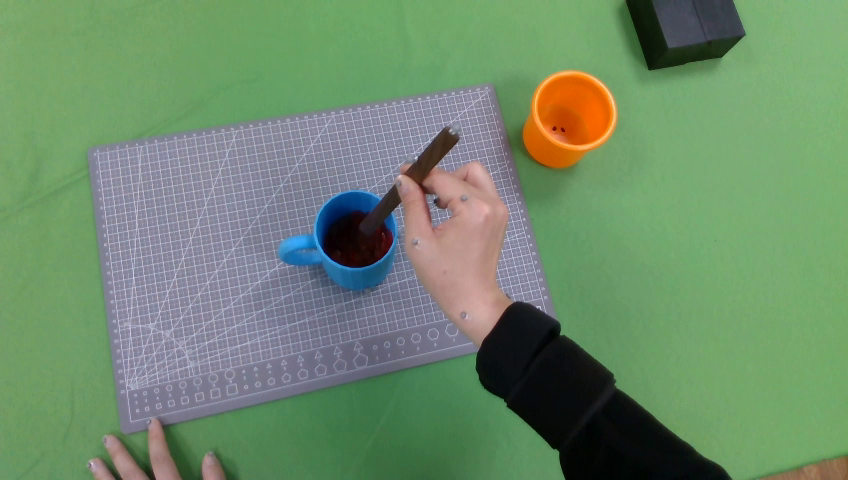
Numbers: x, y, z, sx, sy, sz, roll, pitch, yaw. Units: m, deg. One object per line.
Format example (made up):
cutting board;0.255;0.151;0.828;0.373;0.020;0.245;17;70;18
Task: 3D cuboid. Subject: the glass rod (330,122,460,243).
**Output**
glass rod;-0.031;-0.038;0.476;0.008;0.200;0.008;16;59;-28

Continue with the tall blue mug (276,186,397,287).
tall blue mug;-0.080;0.008;0.592;0.107;0.108;0.077;-35;83;-12
